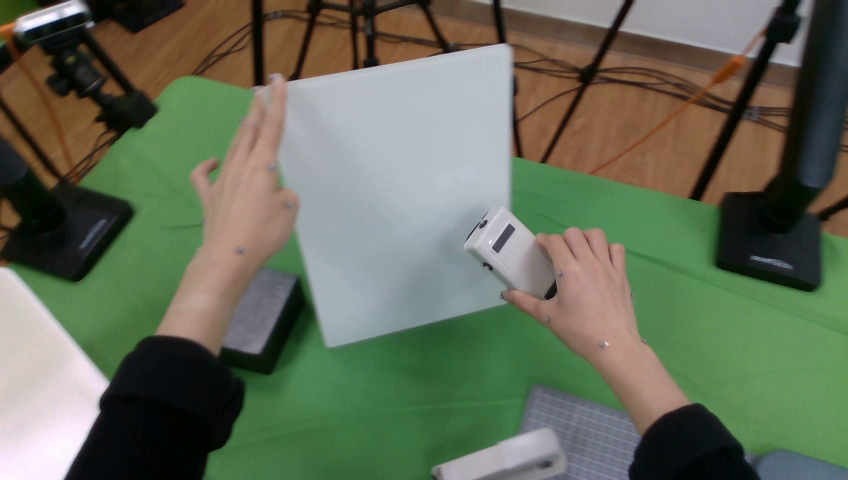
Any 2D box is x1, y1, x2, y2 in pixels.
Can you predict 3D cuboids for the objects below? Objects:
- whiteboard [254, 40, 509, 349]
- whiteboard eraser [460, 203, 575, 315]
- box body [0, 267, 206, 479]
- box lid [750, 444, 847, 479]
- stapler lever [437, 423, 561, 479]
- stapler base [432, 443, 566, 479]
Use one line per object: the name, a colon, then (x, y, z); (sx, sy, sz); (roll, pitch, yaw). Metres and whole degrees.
whiteboard: (-0.036, -0.063, 0.650); (0.217, 0.308, 0.142); (-12, 37, -8)
whiteboard eraser: (0.090, 0.019, 0.587); (0.113, 0.041, 0.055); (41, 70, -15)
box body: (-0.335, 0.232, 0.494); (0.361, 0.162, 0.253); (35, 62, 22)
box lid: (0.394, 0.372, 0.490); (0.262, 0.015, 0.369); (16, 57, 10)
stapler lever: (0.071, 0.202, 0.568); (0.118, 0.040, 0.026); (-14, 52, -6)
stapler base: (0.074, 0.216, 0.589); (0.131, 0.024, 0.041); (-14, 53, -6)
